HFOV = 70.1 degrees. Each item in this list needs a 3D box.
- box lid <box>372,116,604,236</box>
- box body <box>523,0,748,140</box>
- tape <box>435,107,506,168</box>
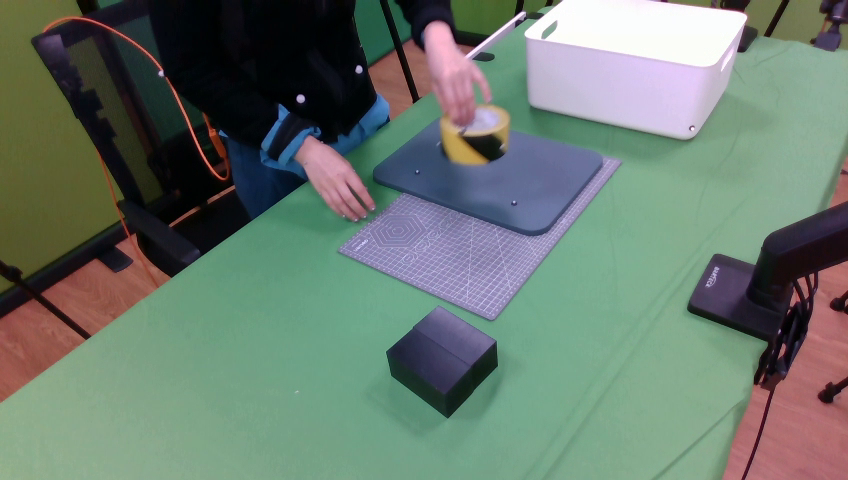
[{"bbox_3d":[0.115,-0.133,1.112,0.368,0.015,0.264,21,48,30],"label":"box lid"},{"bbox_3d":[0.412,-0.354,1.212,0.361,0.161,0.254,20,48,29],"label":"box body"},{"bbox_3d":[0.073,-0.166,0.970,0.117,0.053,0.116,-2,37,2],"label":"tape"}]
